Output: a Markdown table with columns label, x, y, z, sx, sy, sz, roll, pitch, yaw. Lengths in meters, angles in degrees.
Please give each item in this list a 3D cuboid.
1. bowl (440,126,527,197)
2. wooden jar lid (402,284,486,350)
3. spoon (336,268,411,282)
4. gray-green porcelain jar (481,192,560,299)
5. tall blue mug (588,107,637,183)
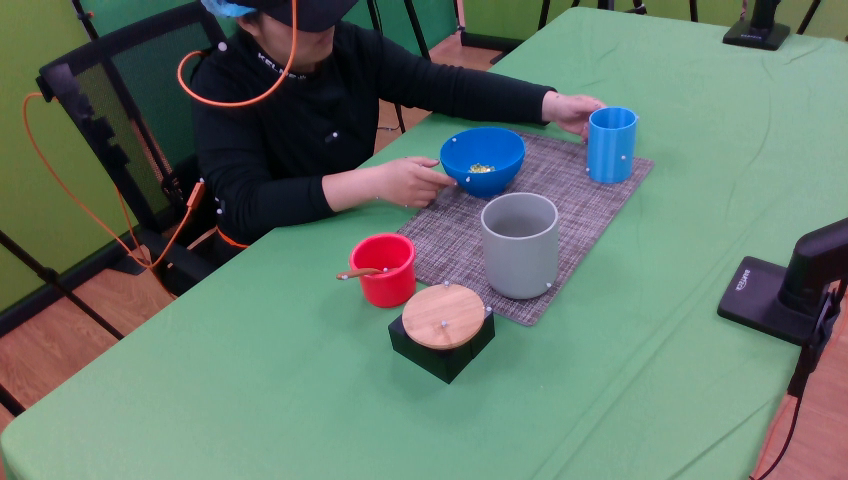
| label | x | y | z | sx | sy | sz | roll | pitch | yaw |
| --- | --- | --- | --- | --- | --- | --- | --- | --- | --- |
| bowl | 0.107 | -0.130 | 1.070 | 0.151 | 0.077 | 0.150 | -5 | 40 | 5 |
| wooden jar lid | 0.026 | 0.101 | 0.786 | 0.108 | 0.021 | 0.108 | -5 | 39 | 4 |
| spoon | -0.071 | 0.047 | 0.850 | 0.041 | 0.195 | 0.021 | 19 | 93 | 24 |
| gray-green porcelain jar | 0.138 | 0.012 | 0.858 | 0.106 | 0.127 | 0.105 | -6 | 40 | 5 |
| tall blue mug | 0.314 | -0.170 | 1.053 | 0.078 | 0.108 | 0.106 | -33 | 45 | -24 |
